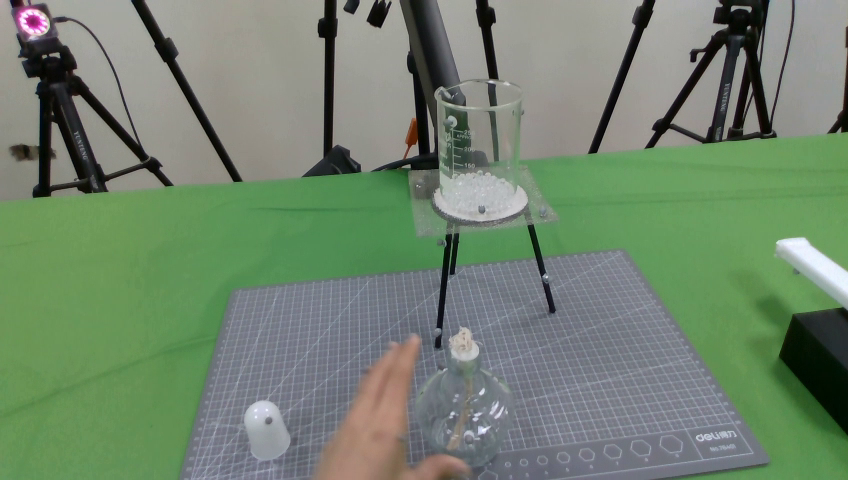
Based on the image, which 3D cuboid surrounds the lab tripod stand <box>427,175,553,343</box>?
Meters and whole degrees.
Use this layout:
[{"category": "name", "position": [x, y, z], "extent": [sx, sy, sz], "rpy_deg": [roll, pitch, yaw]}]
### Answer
[{"category": "lab tripod stand", "position": [0.056, 0.013, 0.589], "extent": [0.148, 0.132, 0.147], "rpy_deg": [-1, 32, 1]}]

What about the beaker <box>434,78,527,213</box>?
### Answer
[{"category": "beaker", "position": [0.045, -0.081, 0.525], "extent": [0.074, 0.101, 0.083], "rpy_deg": [-25, 39, -32]}]

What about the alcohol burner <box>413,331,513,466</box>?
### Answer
[{"category": "alcohol burner", "position": [0.029, 0.113, 0.456], "extent": [0.078, 0.120, 0.077], "rpy_deg": [-1, 35, 1]}]

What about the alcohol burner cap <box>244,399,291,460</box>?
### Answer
[{"category": "alcohol burner cap", "position": [-0.126, 0.147, 0.483], "extent": [0.034, 0.048, 0.033], "rpy_deg": [-2, 34, 2]}]

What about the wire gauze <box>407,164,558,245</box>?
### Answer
[{"category": "wire gauze", "position": [0.048, -0.040, 0.550], "extent": [0.121, 0.011, 0.124], "rpy_deg": [-6, 35, -3]}]

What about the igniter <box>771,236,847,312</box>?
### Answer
[{"category": "igniter", "position": [0.378, 0.070, 0.489], "extent": [0.057, 0.025, 0.274], "rpy_deg": [-7, 30, -4]}]
